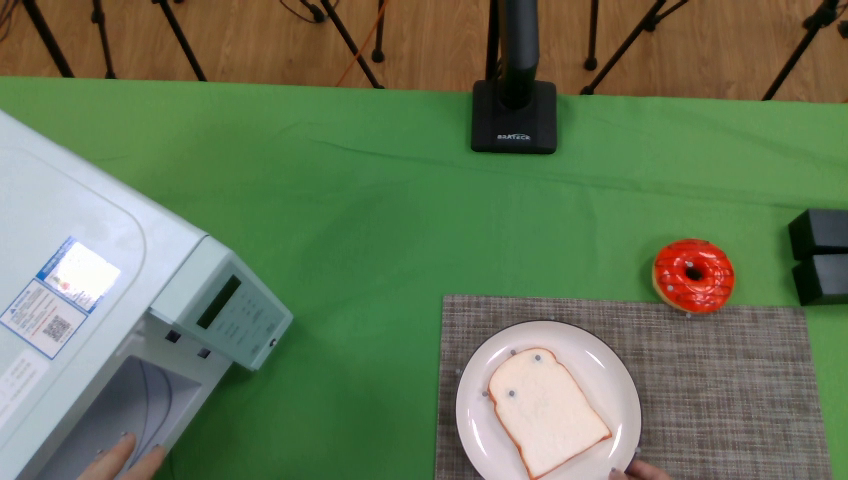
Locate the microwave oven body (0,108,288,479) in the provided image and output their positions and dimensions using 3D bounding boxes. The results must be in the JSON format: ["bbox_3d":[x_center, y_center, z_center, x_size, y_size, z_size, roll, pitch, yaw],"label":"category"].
[{"bbox_3d":[-0.413,0.146,0.622,0.325,0.262,0.440,29,73,12],"label":"microwave oven body"}]

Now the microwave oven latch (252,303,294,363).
[{"bbox_3d":[-0.190,0.108,0.732,0.030,0.030,0.079,31,74,12],"label":"microwave oven latch"}]

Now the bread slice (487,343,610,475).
[{"bbox_3d":[0.134,0.187,0.701,0.105,0.019,0.130,-30,68,-5],"label":"bread slice"}]

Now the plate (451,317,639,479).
[{"bbox_3d":[0.136,0.193,0.696,0.207,0.039,0.206,-3,68,7],"label":"plate"}]

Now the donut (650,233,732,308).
[{"bbox_3d":[0.332,0.038,0.755,0.099,0.048,0.098,-2,66,5],"label":"donut"}]
